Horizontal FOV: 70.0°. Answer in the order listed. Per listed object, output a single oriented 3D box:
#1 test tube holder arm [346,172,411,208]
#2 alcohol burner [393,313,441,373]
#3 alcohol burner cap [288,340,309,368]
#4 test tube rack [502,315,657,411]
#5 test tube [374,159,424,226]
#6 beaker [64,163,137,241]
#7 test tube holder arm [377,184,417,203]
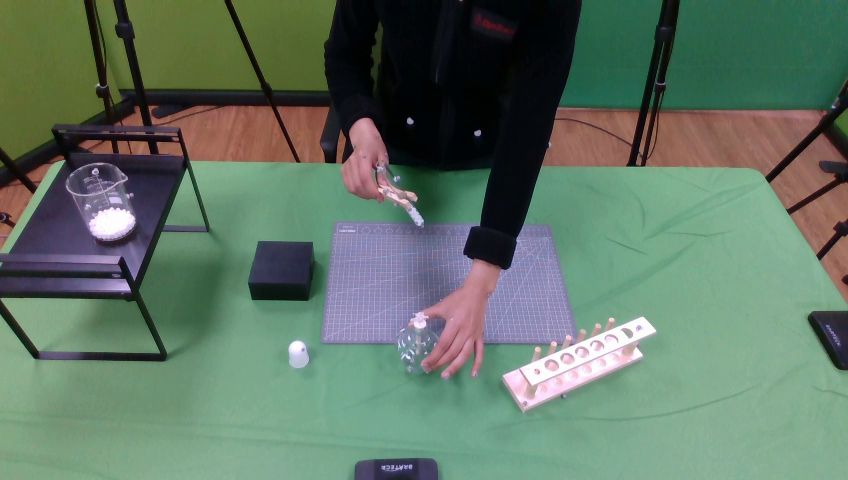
[{"bbox_3d":[-0.079,-0.084,0.996,0.013,0.015,0.177,-45,42,-18],"label":"test tube holder arm"},{"bbox_3d":[-0.010,0.159,0.966,0.078,0.119,0.077,2,45,-2],"label":"alcohol burner"},{"bbox_3d":[-0.207,0.183,0.991,0.034,0.048,0.033,2,47,-2],"label":"alcohol burner cap"},{"bbox_3d":[0.253,0.187,0.988,0.242,0.085,0.066,-18,50,-20],"label":"test tube rack"},{"bbox_3d":[-0.036,-0.071,0.944,0.017,0.151,0.017,-16,47,19],"label":"test tube"},{"bbox_3d":[-0.477,-0.055,0.910,0.084,0.101,0.073,-9,48,-13],"label":"beaker"},{"bbox_3d":[-0.046,-0.075,0.966,0.087,0.015,0.010,18,59,42],"label":"test tube holder arm"}]
